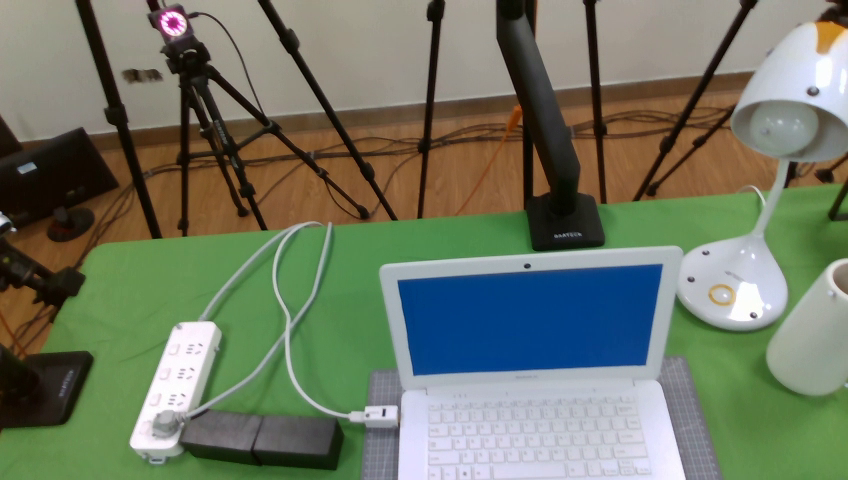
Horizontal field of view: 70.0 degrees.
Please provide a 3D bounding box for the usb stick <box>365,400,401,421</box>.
[{"bbox_3d":[-0.049,0.231,0.821,0.059,0.027,0.021,1,47,3],"label":"usb stick"}]

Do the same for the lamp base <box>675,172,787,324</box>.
[{"bbox_3d":[0.458,-0.001,0.863,0.159,0.182,0.178,24,54,26],"label":"lamp base"}]

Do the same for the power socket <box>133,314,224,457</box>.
[{"bbox_3d":[-0.358,0.204,0.895,0.072,0.033,0.224,-1,48,6],"label":"power socket"}]

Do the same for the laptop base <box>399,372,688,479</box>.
[{"bbox_3d":[0.144,0.283,0.766,0.354,0.023,0.233,-4,52,5],"label":"laptop base"}]

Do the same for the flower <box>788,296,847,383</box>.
[{"bbox_3d":[0.507,0.041,0.695,0.038,0.364,0.043,-3,37,-17],"label":"flower"}]

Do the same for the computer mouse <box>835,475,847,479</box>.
[{"bbox_3d":[0.478,0.317,0.675,0.062,0.041,0.117,30,55,33],"label":"computer mouse"}]

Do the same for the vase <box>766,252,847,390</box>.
[{"bbox_3d":[0.500,0.103,0.753,0.098,0.202,0.097,-5,47,6],"label":"vase"}]

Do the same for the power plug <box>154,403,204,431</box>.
[{"bbox_3d":[-0.334,0.247,0.829,0.072,0.053,0.035,7,50,11],"label":"power plug"}]

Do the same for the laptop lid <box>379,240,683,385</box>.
[{"bbox_3d":[0.131,0.102,0.768,0.356,0.244,0.013,-5,38,5],"label":"laptop lid"}]

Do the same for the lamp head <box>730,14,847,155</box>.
[{"bbox_3d":[0.385,-0.160,0.612,0.111,0.113,0.122,21,73,24],"label":"lamp head"}]
